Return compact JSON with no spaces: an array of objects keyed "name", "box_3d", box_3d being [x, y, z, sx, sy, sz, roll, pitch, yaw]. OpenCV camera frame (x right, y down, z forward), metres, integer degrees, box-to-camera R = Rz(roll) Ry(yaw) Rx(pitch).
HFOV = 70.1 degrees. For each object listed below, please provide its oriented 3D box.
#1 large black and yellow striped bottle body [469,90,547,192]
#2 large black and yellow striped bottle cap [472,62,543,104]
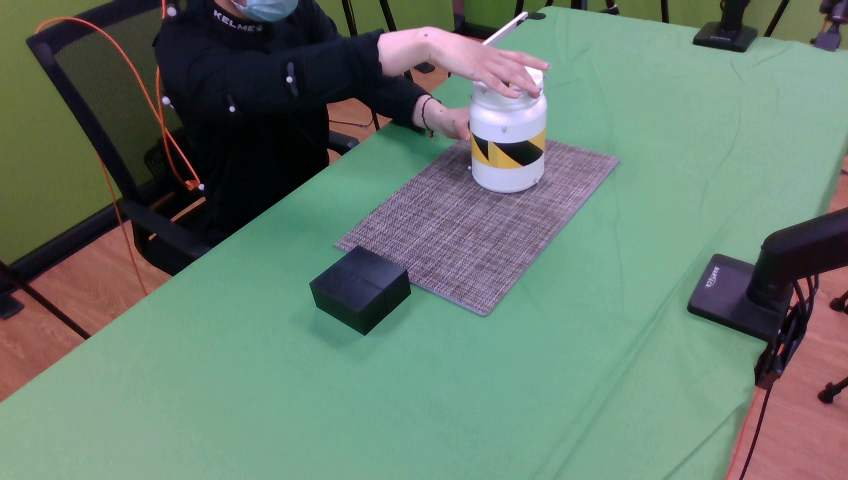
[{"name":"large black and yellow striped bottle body","box_3d":[0.143,-0.190,1.039,0.131,0.185,0.130,-4,41,4]},{"name":"large black and yellow striped bottle cap","box_3d":[0.135,-0.256,0.982,0.115,0.019,0.114,-4,42,4]}]
